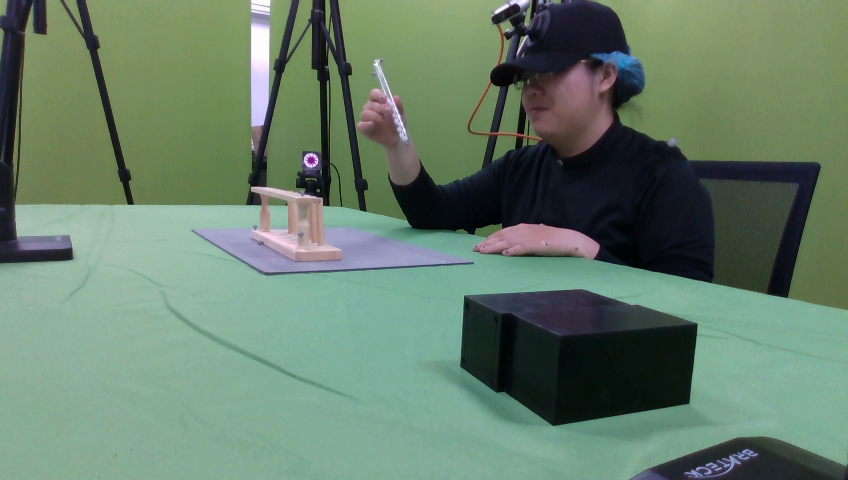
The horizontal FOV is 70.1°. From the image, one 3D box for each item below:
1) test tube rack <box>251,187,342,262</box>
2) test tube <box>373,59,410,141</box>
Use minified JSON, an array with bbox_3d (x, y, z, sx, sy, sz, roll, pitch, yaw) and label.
[{"bbox_3d":[-0.196,-0.030,0.902,0.067,0.085,0.241,-1,8,-29],"label":"test tube rack"},{"bbox_3d":[-0.055,-0.236,1.019,0.017,0.150,0.017,-20,-7,-2],"label":"test tube"}]
